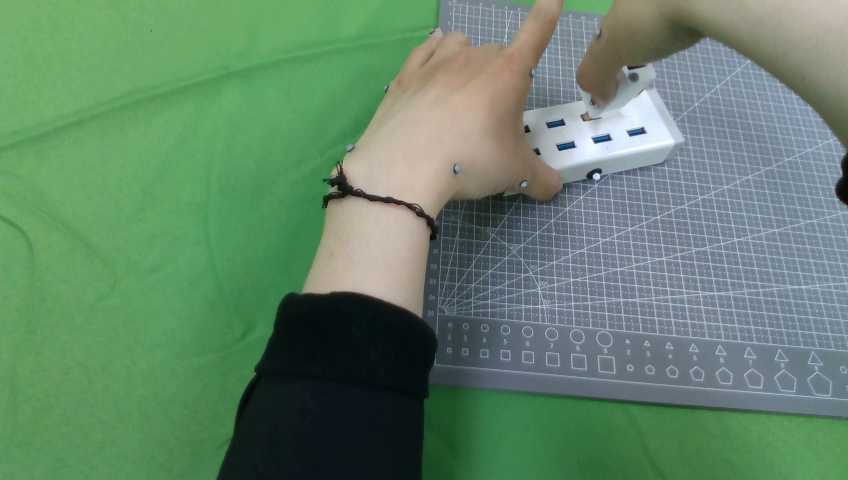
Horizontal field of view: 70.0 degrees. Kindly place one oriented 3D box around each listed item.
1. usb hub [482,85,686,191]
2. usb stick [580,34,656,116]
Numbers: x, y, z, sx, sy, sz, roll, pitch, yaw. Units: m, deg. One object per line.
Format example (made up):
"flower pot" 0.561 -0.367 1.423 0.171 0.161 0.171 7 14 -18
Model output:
"usb hub" 0.105 -0.070 0.399 0.125 0.025 0.049 -12 66 -13
"usb stick" 0.114 -0.097 0.370 0.021 0.059 0.027 -18 75 -17
